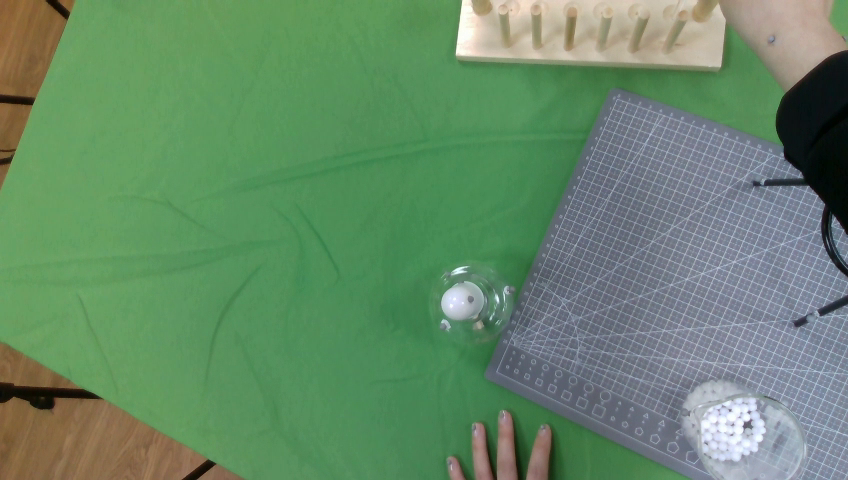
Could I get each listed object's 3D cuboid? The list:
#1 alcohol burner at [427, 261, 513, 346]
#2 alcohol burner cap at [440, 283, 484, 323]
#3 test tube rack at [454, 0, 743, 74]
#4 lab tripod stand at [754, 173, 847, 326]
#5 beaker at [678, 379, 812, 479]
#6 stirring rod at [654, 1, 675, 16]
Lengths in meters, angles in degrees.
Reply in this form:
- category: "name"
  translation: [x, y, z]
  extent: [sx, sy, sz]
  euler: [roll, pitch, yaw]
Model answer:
- category: "alcohol burner"
  translation: [0.038, 0.056, 0.533]
  extent: [0.078, 0.119, 0.077]
  euler: [-1, 84, 11]
- category: "alcohol burner cap"
  translation: [0.029, 0.053, 0.498]
  extent: [0.034, 0.048, 0.034]
  euler: [0, 89, 14]
- category: "test tube rack"
  translation: [0.143, -0.199, 0.540]
  extent: [0.241, 0.085, 0.066]
  euler: [6, 87, 13]
- category: "lab tripod stand"
  translation: [0.326, -0.001, 0.459]
  extent: [0.148, 0.132, 0.148]
  euler: [0, 88, 12]
- category: "beaker"
  translation: [0.246, 0.151, 0.485]
  extent: [0.083, 0.100, 0.074]
  euler: [30, 92, 14]
- category: "stirring rod"
  translation: [0.202, -0.221, 0.433]
  extent: [0.006, 0.177, 0.014]
  euler: [-39, 77, -11]
